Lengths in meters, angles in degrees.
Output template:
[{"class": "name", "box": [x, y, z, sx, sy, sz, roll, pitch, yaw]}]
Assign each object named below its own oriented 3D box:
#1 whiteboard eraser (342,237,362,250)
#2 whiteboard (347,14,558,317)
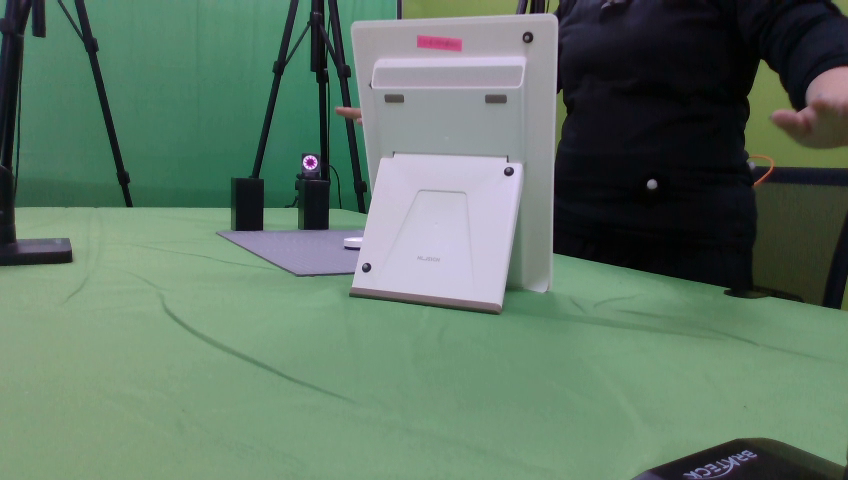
[{"class": "whiteboard eraser", "box": [-0.082, 0.004, 0.968, 0.102, 0.019, 0.041, 0, 7, -31]}, {"class": "whiteboard", "box": [0.012, -0.056, 0.609, 0.216, 0.305, 0.144, 5, 27, 20]}]
